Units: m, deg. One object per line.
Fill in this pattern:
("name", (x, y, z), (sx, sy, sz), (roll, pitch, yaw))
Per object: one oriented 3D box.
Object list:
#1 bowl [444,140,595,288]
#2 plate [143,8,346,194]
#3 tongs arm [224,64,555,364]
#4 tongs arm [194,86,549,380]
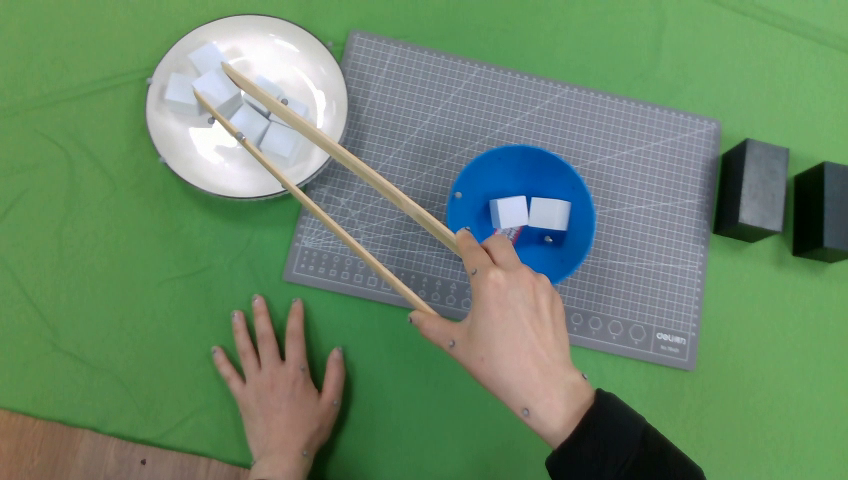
("bowl", (0.090, -0.019, 0.627), (0.151, 0.077, 0.150), (1, 78, -6))
("plate", (-0.186, -0.145, 0.646), (0.208, 0.039, 0.206), (1, 78, -5))
("tongs arm", (-0.041, -0.036, 0.506), (0.385, 0.028, 0.028), (40, 67, 16))
("tongs arm", (-0.057, -0.020, 0.499), (0.051, 0.027, 0.382), (-40, 72, -17))
